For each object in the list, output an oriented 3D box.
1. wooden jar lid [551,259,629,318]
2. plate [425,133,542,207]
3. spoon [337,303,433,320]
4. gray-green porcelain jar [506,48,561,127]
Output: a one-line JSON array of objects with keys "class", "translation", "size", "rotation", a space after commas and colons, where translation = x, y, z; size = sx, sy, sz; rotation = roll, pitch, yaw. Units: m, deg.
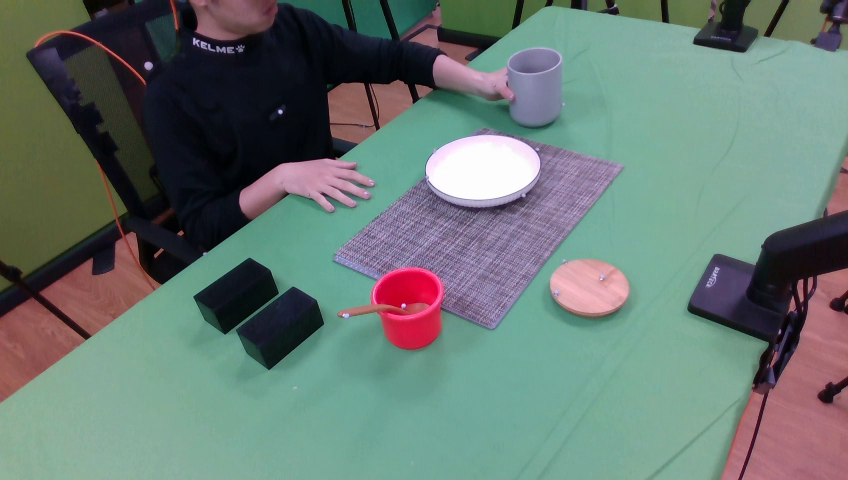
[{"class": "wooden jar lid", "translation": [0.234, 0.070, 0.857], "size": [0.108, 0.021, 0.108], "rotation": [-5, 40, 4]}, {"class": "plate", "translation": [0.106, -0.122, 1.079], "size": [0.207, 0.039, 0.206], "rotation": [-4, 41, 4]}, {"class": "spoon", "translation": [-0.048, 0.091, 0.777], "size": [0.041, 0.021, 0.195], "rotation": [23, 5, 32]}, {"class": "gray-green porcelain jar", "translation": [0.219, -0.298, 1.200], "size": [0.106, 0.127, 0.105], "rotation": [-6, 44, 7]}]
